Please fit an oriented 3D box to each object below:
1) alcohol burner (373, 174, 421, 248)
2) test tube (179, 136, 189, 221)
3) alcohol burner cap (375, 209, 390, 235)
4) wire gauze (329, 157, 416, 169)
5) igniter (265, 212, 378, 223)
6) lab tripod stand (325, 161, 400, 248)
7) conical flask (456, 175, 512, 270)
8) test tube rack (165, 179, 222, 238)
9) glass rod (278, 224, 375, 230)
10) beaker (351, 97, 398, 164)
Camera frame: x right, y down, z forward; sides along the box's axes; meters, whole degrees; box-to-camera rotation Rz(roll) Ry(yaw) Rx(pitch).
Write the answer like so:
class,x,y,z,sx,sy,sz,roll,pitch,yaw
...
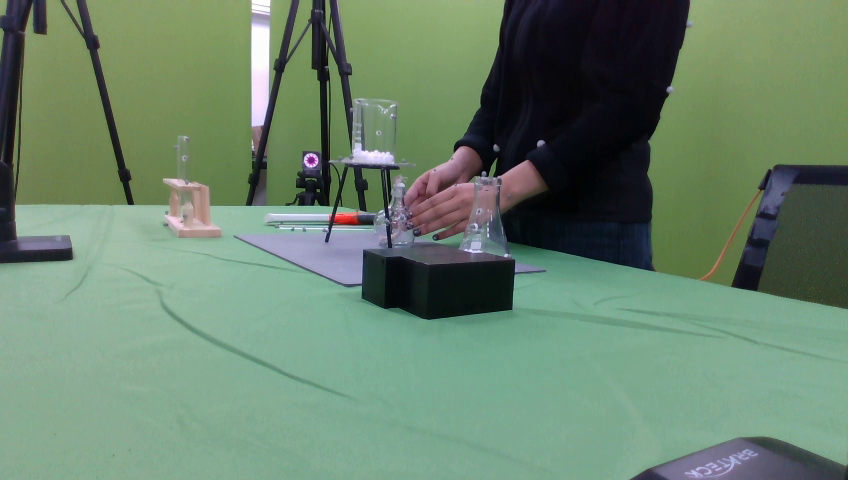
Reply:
class,x,y,z,sx,sy,sz,roll,pitch,yaw
alcohol burner,-0.042,-0.048,0.976,0.078,0.119,0.078,4,9,0
test tube,-0.425,-0.108,1.070,0.017,0.150,0.017,4,9,0
alcohol burner cap,-0.076,-0.035,1.145,0.034,0.048,0.034,1,7,0
wire gauze,-0.079,-0.125,0.972,0.121,0.011,0.125,6,6,5
igniter,-0.195,-0.048,1.285,0.278,0.025,0.057,-2,-2,-30
lab tripod stand,-0.083,-0.059,0.977,0.148,0.131,0.148,4,8,0
conical flask,0.082,-0.025,0.801,0.075,0.122,0.075,2,7,0
test tube rack,-0.423,-0.062,1.098,0.067,0.085,0.241,-2,9,-28
glass rod,-0.186,-0.024,1.178,0.201,0.008,0.008,1,6,-31
beaker,-0.078,-0.172,0.962,0.074,0.100,0.084,6,8,19
